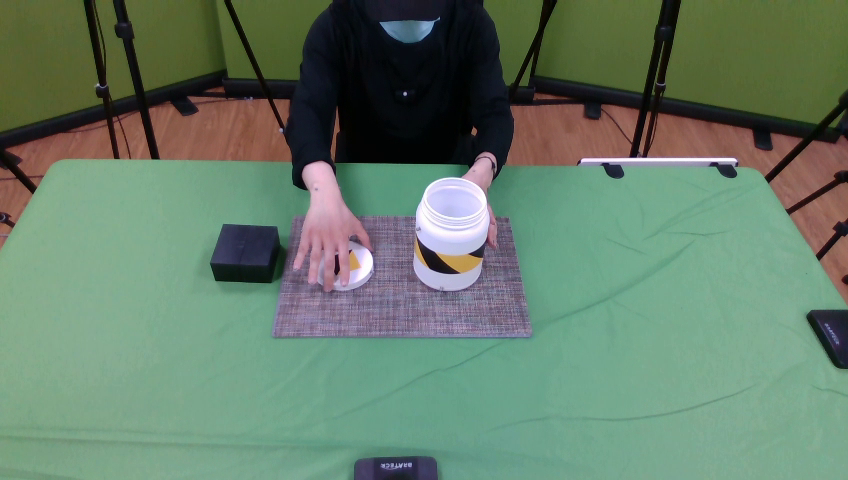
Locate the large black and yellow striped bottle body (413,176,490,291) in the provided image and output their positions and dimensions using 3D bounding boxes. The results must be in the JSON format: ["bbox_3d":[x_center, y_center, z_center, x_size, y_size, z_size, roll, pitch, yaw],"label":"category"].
[{"bbox_3d":[0.048,-0.011,1.091,0.131,0.185,0.130,2,46,-2],"label":"large black and yellow striped bottle body"}]

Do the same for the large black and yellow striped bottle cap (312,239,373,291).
[{"bbox_3d":[-0.153,0.045,1.140,0.115,0.019,0.114,2,48,-2],"label":"large black and yellow striped bottle cap"}]
